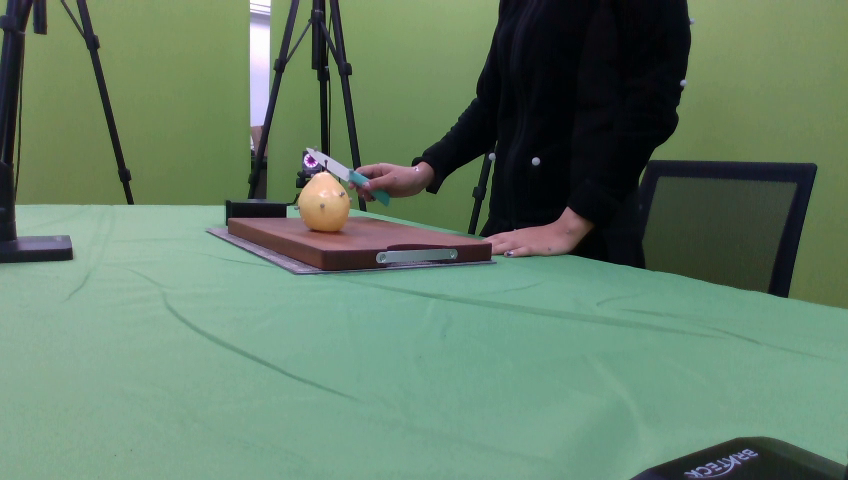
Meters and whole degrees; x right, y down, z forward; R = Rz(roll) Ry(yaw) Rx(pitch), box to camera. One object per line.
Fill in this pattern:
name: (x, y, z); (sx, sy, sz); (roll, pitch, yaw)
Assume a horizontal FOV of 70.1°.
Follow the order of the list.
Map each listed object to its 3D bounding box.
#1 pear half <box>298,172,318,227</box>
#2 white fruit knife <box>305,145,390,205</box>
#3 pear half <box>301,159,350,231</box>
pear half: (-0.172, -0.062, 0.938); (0.031, 0.088, 0.071); (8, 14, 34)
white fruit knife: (-0.138, -0.122, 1.128); (0.208, 0.027, 0.016); (31, -9, -38)
pear half: (-0.143, -0.068, 0.917); (0.055, 0.110, 0.077); (8, 12, 34)
